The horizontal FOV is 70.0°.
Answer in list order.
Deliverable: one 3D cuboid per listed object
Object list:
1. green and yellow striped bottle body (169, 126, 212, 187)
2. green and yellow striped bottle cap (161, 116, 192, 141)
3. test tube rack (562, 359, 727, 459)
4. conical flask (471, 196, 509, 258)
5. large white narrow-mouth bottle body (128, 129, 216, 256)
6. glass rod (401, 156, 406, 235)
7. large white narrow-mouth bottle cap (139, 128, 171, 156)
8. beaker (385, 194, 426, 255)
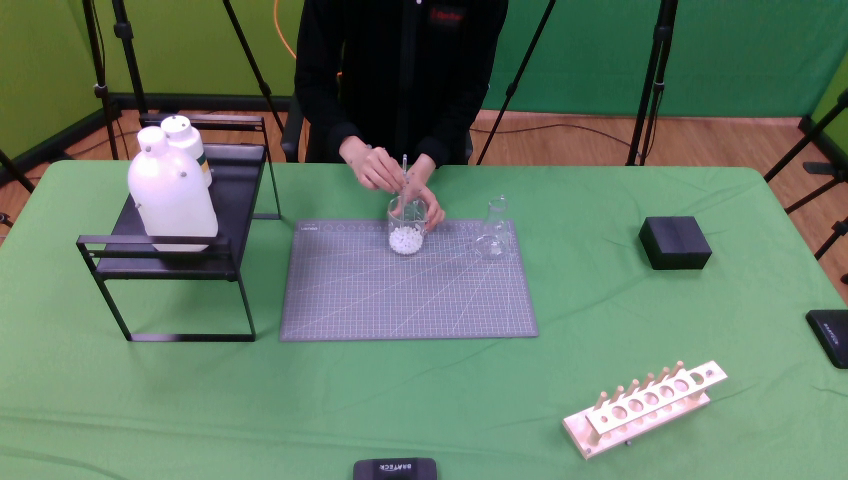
[{"bbox_3d":[-0.389,-0.139,0.984,0.063,0.120,0.063,2,46,-2],"label":"green and yellow striped bottle body"},{"bbox_3d":[-0.387,-0.174,0.946,0.045,0.020,0.045,3,44,-3],"label":"green and yellow striped bottle cap"},{"bbox_3d":[0.341,0.247,0.940,0.243,0.085,0.066,-16,49,-18],"label":"test tube rack"},{"bbox_3d":[0.133,-0.028,1.160,0.075,0.122,0.075,2,46,-2],"label":"conical flask"},{"bbox_3d":[-0.366,-0.073,0.872,0.102,0.195,0.101,3,47,-3],"label":"large white narrow-mouth bottle body"},{"bbox_3d":[-0.038,-0.077,1.117,0.008,0.201,0.008,1,48,-1],"label":"glass rod"},{"bbox_3d":[-0.358,-0.131,0.808,0.038,0.024,0.037,3,47,-3],"label":"large white narrow-mouth bottle cap"},{"bbox_3d":[-0.033,-0.026,1.162,0.083,0.101,0.074,29,52,21],"label":"beaker"}]
